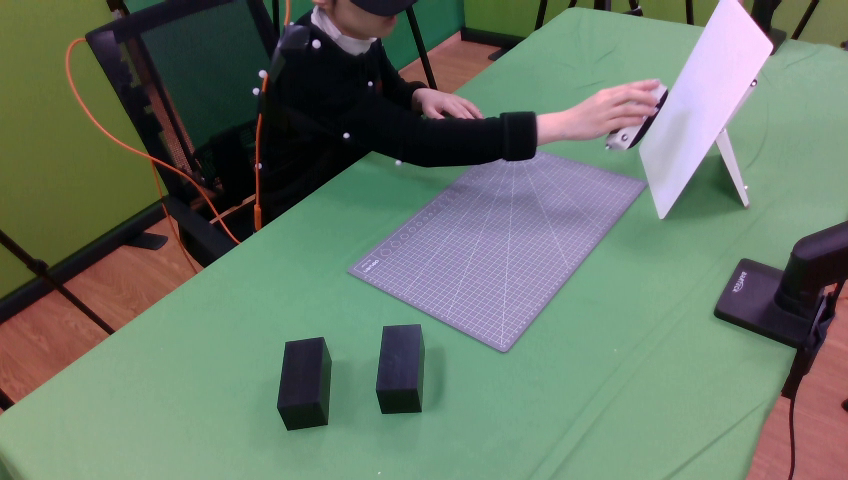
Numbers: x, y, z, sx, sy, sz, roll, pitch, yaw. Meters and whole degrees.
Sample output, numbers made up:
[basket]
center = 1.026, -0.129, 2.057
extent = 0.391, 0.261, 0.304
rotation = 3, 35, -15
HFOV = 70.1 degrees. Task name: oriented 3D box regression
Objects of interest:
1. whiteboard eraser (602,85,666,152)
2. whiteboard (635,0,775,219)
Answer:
[whiteboard eraser]
center = 0.331, -0.187, 0.950
extent = 0.112, 0.042, 0.055
rotation = -56, 15, 3
[whiteboard]
center = 0.486, -0.192, 0.956
extent = 0.144, 0.305, 0.216
rotation = 14, 41, -4
